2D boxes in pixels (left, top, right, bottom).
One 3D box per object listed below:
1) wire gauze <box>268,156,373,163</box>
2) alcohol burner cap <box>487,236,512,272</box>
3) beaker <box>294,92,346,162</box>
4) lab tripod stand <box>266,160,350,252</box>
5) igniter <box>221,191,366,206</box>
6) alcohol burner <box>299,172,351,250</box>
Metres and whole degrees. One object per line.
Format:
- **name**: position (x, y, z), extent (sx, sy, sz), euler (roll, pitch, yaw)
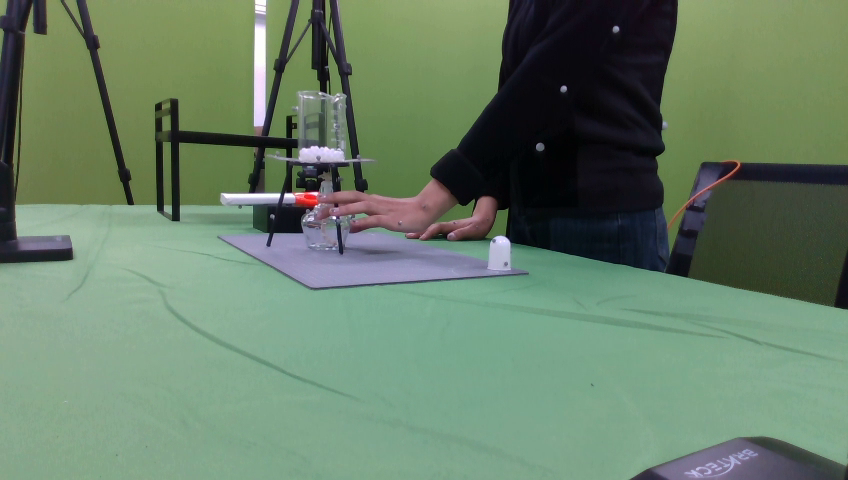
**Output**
- **wire gauze**: position (-0.154, -0.119, 0.910), extent (0.122, 0.011, 0.124), euler (-4, 8, -44)
- **alcohol burner cap**: position (0.102, 0.019, 0.802), extent (0.034, 0.048, 0.034), euler (2, 8, 0)
- **beaker**: position (-0.152, -0.165, 0.896), extent (0.074, 0.100, 0.083), euler (-4, 10, -33)
- **lab tripod stand**: position (-0.164, -0.054, 0.915), extent (0.148, 0.131, 0.148), euler (2, 9, 0)
- **igniter**: position (-0.240, -0.078, 1.150), extent (0.278, 0.025, 0.057), euler (-3, 20, -32)
- **alcohol burner**: position (-0.150, -0.044, 0.921), extent (0.078, 0.119, 0.078), euler (4, 6, 0)
